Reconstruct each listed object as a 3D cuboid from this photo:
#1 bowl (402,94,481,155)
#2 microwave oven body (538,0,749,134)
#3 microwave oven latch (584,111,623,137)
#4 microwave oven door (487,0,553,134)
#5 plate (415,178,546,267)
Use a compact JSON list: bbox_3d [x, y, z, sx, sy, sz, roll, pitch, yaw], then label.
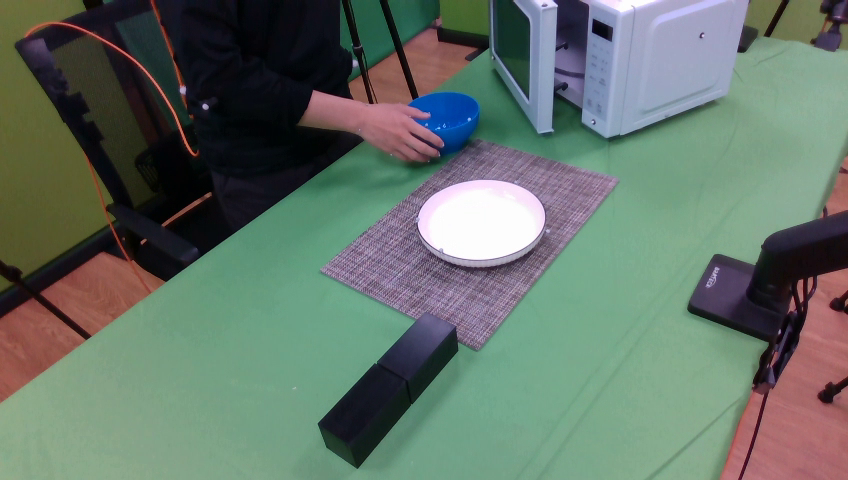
[{"bbox_3d":[0.036,-0.217,1.180,0.151,0.077,0.150,-3,38,3],"label":"bowl"},{"bbox_3d":[0.382,-0.444,1.246,0.327,0.261,0.437,-22,42,-16],"label":"microwave oven body"},{"bbox_3d":[0.337,-0.222,1.142,0.030,0.029,0.078,-21,42,-14],"label":"microwave oven latch"},{"bbox_3d":[0.189,-0.407,1.222,0.039,0.245,0.353,-11,41,-5],"label":"microwave oven door"},{"bbox_3d":[0.091,-0.026,0.970,0.207,0.039,0.206,-4,41,4],"label":"plate"}]
